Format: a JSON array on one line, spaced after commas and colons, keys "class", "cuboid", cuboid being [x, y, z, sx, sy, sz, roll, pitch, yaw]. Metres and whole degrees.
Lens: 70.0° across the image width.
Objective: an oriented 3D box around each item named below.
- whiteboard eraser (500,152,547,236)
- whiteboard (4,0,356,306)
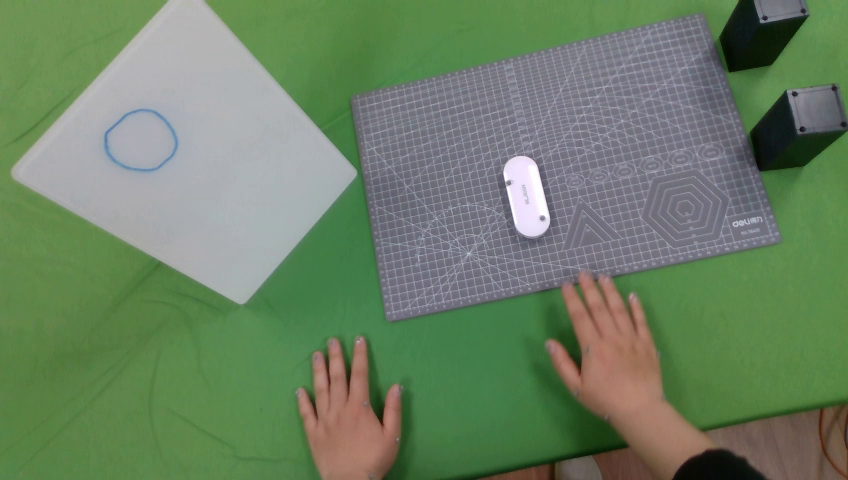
[{"class": "whiteboard eraser", "cuboid": [0.116, -0.055, 0.708, 0.041, 0.019, 0.100, -12, 76, 4]}, {"class": "whiteboard", "cuboid": [-0.256, -0.100, 0.659, 0.142, 0.309, 0.217, 36, 84, 35]}]
